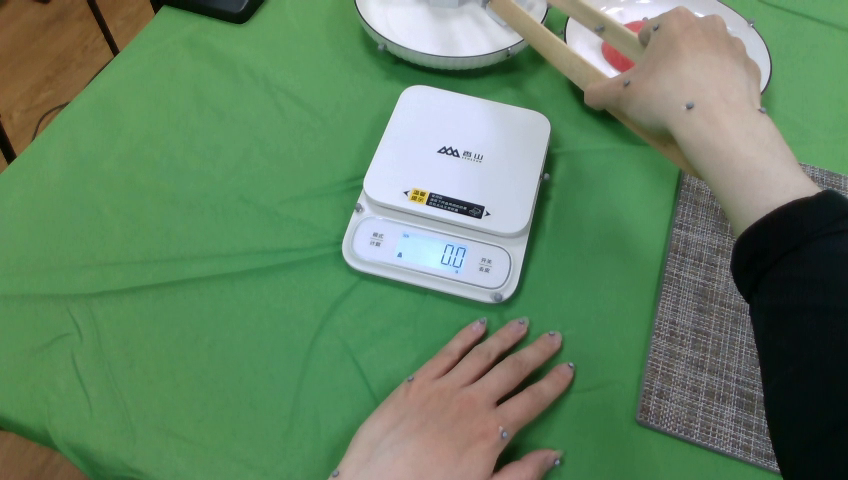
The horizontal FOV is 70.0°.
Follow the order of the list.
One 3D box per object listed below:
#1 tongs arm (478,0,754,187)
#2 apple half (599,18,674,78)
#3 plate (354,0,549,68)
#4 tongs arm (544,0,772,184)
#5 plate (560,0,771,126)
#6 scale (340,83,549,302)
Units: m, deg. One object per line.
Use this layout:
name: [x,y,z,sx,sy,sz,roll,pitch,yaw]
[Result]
tongs arm: [0.126,-0.163,0.526,0.028,0.028,0.383,-17,47,-18]
apple half: [0.226,-0.205,0.626,0.081,0.033,0.080,0,54,0]
plate: [0.029,-0.255,0.657,0.208,0.039,0.205,1,58,-1]
tongs arm: [0.157,-0.174,0.534,0.051,0.027,0.380,-21,48,-16]
plate: [0.242,-0.190,0.623,0.209,0.038,0.207,1,57,-1]
scale: [0.023,-0.049,0.529,0.148,0.032,0.199,14,59,7]
